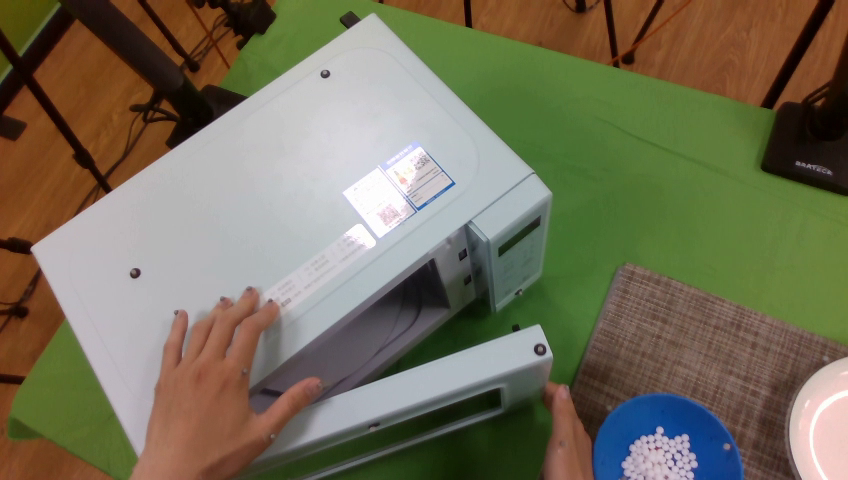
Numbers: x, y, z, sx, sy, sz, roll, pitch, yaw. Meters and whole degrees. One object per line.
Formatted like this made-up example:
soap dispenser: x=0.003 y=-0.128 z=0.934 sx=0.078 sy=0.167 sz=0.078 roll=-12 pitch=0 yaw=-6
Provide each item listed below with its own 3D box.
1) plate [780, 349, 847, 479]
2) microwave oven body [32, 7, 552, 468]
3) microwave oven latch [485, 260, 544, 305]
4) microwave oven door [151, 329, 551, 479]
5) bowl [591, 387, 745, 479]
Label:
plate: x=0.494 y=0.221 z=0.654 sx=0.207 sy=0.039 sz=0.206 roll=-3 pitch=68 yaw=7
microwave oven body: x=-0.128 y=0.013 z=0.704 sx=0.441 sy=0.262 sz=0.323 roll=-38 pitch=68 yaw=-7
microwave oven latch: x=0.114 y=0.046 z=0.763 sx=0.079 sy=0.030 sz=0.030 roll=-36 pitch=68 yaw=-7
microwave oven door: x=-0.047 y=0.186 z=0.617 sx=0.356 sy=0.246 sz=0.039 roll=-19 pitch=65 yaw=0
bowl: x=0.253 y=0.241 z=0.657 sx=0.151 sy=0.077 sz=0.150 roll=-3 pitch=67 yaw=7
